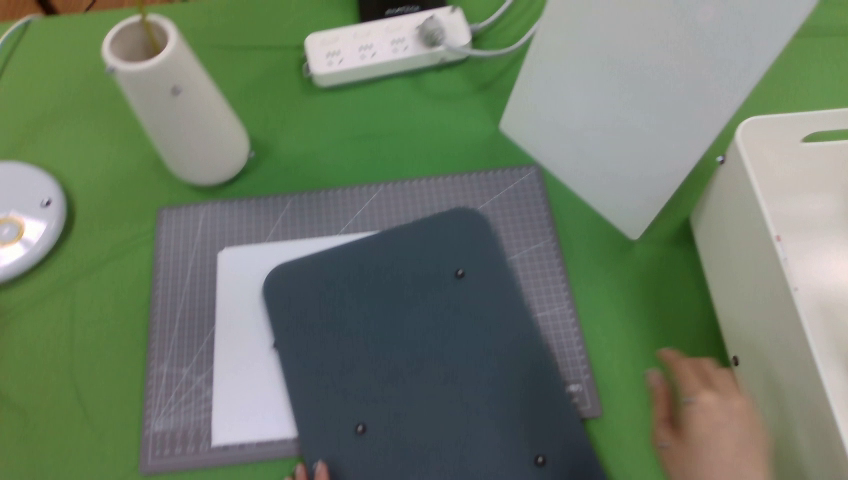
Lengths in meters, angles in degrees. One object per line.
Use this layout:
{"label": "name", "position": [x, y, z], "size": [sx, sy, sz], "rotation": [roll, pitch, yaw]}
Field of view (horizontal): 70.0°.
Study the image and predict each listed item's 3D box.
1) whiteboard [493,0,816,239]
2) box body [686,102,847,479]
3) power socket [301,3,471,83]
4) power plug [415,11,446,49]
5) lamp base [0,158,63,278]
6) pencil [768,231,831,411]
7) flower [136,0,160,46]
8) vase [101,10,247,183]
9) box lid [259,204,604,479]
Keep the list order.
{"label": "whiteboard", "position": [0.239, -0.192, 0.631], "size": [0.144, 0.307, 0.215], "rotation": [-31, 65, -33]}
{"label": "box body", "position": [0.416, 0.069, 0.548], "size": [0.254, 0.161, 0.361], "rotation": [-5, 65, -1]}
{"label": "power socket", "position": [-0.048, -0.256, 0.784], "size": [0.227, 0.033, 0.071], "rotation": [-12, 66, -5]}
{"label": "power plug", "position": [0.008, -0.252, 0.755], "size": [0.035, 0.053, 0.072], "rotation": [-3, 66, 0]}
{"label": "lamp base", "position": [-0.508, -0.063, 0.623], "size": [0.178, 0.182, 0.160], "rotation": [23, 67, 15]}
{"label": "pencil", "position": [0.383, 0.077, 0.622], "size": [0.012, 0.012, 0.192], "rotation": [-4, 65, 0]}
{"label": "flower", "position": [-0.260, -0.198, 0.580], "size": [0.038, 0.365, 0.043], "rotation": [-18, 47, -15]}
{"label": "vase", "position": [-0.261, -0.145, 0.646], "size": [0.098, 0.201, 0.097], "rotation": [-1, 64, 3]}
{"label": "box lid", "position": [-0.003, 0.145, 0.606], "size": [0.263, 0.015, 0.368], "rotation": [-18, 66, -8]}
